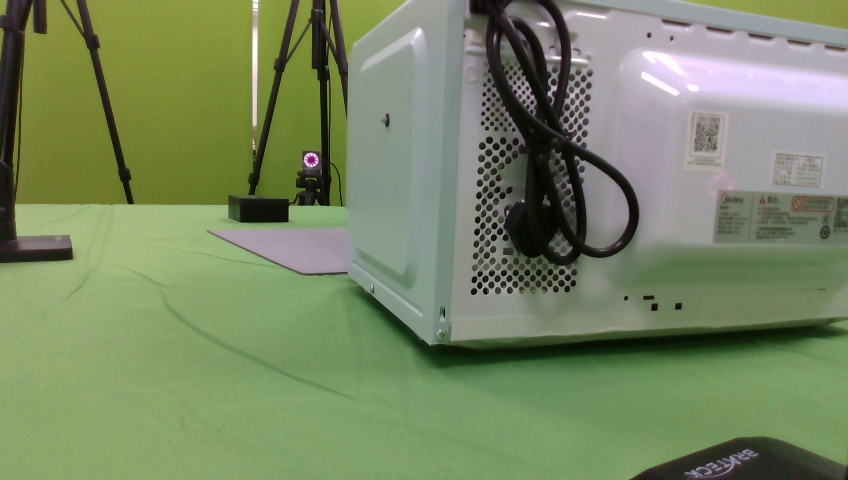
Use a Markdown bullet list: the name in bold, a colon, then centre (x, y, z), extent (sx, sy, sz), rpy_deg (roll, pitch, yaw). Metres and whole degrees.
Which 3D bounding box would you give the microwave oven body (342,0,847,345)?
- **microwave oven body**: centre (0.169, -0.060, 0.573), extent (0.444, 0.260, 0.324), rpy_deg (1, 7, -20)

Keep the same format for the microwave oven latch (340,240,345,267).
- **microwave oven latch**: centre (-0.052, 0.016, 0.662), extent (0.079, 0.029, 0.030), rpy_deg (1, 7, -18)

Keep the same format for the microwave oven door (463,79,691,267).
- **microwave oven door**: centre (0.204, -0.104, 0.900), extent (0.039, 0.243, 0.354), rpy_deg (-5, 10, -44)

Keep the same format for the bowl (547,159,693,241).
- **bowl**: centre (0.205, -0.044, 0.652), extent (0.151, 0.077, 0.151), rpy_deg (2, 11, 0)
